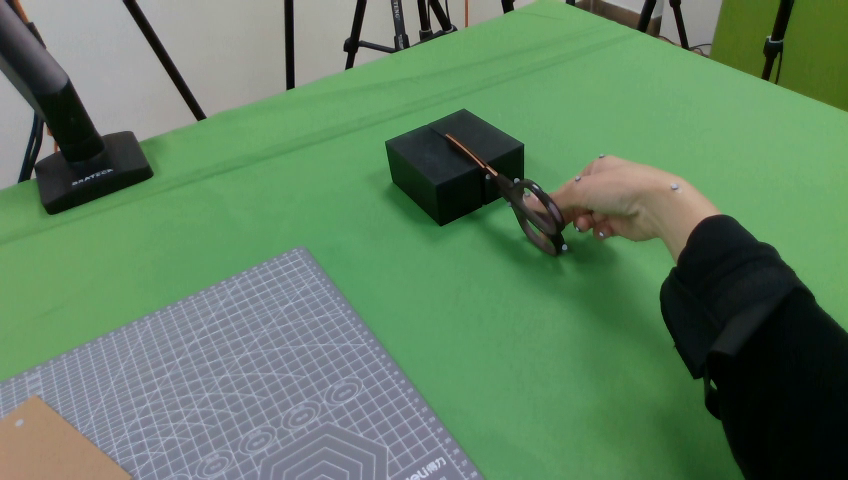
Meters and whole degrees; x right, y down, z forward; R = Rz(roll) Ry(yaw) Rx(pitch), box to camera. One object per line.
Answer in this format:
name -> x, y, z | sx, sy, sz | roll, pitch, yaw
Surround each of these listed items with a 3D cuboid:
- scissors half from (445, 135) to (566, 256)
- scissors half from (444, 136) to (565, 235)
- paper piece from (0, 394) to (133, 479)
scissors half -> 0.070, -0.046, 0.568 | 0.013, 0.040, 0.173 | -31, 62, -16
scissors half -> 0.066, -0.058, 0.553 | 0.013, 0.040, 0.173 | -35, 45, -12
paper piece -> -0.293, 0.180, 0.406 | 0.135, 0.009, 0.138 | 24, 48, 27
